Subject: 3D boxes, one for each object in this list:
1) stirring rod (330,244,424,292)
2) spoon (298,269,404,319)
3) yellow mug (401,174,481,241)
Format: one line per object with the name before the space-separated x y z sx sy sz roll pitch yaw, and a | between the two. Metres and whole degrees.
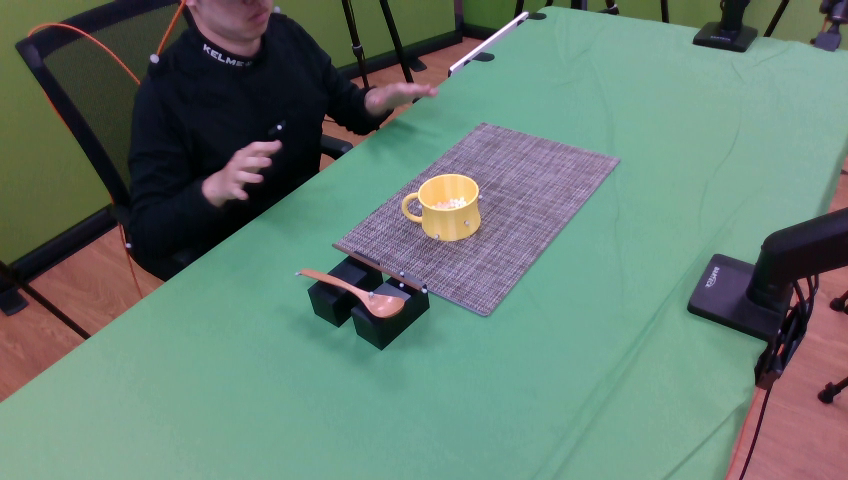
stirring rod | -0.070 0.038 0.863 0.175 0.006 0.014 24 12 31
spoon | -0.106 0.068 0.831 0.192 0.022 0.042 21 50 31
yellow mug | 0.026 -0.054 0.988 0.130 0.064 0.099 -1 40 8
